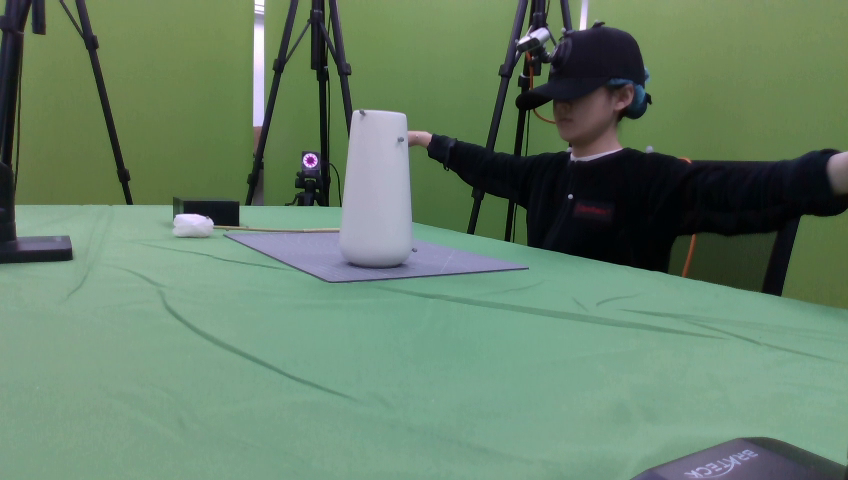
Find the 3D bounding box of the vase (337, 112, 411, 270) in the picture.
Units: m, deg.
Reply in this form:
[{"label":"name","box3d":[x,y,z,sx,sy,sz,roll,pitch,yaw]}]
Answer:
[{"label":"vase","box3d":[-0.064,-0.064,0.790,0.098,0.200,0.098,2,7,0]}]

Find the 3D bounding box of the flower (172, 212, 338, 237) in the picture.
[{"label":"flower","box3d":[-0.254,-0.017,1.079,0.364,0.038,0.044,4,39,-31]}]
